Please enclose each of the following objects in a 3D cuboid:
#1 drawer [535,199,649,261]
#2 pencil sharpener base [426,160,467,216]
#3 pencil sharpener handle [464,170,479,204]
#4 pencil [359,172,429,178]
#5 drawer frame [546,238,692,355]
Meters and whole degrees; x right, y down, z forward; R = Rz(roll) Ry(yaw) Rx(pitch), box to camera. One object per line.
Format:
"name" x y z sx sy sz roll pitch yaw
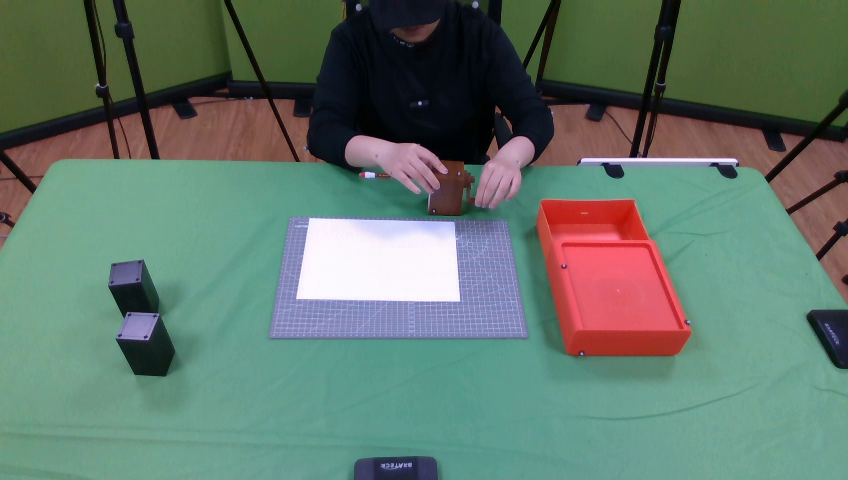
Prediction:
"drawer" 0.332 0.015 1.170 0.195 0.073 0.210 0 46 -5
"pencil sharpener base" 0.046 -0.105 1.245 0.077 0.107 0.061 3 45 -2
"pencil sharpener handle" 0.098 -0.106 1.227 0.030 0.036 0.067 3 89 -2
"pencil" -0.034 -0.129 1.223 0.194 0.012 0.012 1 45 -3
"drawer frame" 0.338 0.097 1.086 0.202 0.083 0.212 0 46 -4
